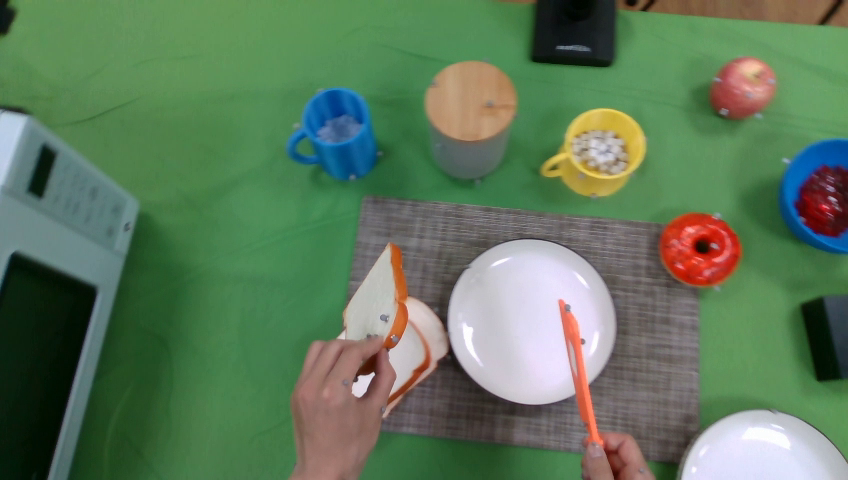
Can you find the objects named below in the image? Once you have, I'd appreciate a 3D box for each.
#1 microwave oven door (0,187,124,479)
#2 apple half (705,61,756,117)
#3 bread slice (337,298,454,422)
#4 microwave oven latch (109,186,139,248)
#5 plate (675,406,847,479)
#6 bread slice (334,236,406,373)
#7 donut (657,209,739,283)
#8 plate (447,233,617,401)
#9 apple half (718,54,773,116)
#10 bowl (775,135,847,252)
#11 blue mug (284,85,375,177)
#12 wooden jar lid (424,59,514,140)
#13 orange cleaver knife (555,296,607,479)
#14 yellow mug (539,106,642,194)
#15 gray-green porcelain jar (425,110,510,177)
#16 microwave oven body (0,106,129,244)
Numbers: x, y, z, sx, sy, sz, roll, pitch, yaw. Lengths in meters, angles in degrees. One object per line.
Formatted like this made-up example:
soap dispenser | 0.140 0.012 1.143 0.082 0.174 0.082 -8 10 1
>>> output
microwave oven door | -0.431 0.148 0.633 0.039 0.245 0.354 6 74 3
apple half | 0.403 -0.195 0.817 0.033 0.081 0.081 -25 74 -11
bread slice | -0.025 0.140 0.746 0.104 0.019 0.131 40 77 5
microwave oven latch | -0.398 -0.031 0.790 0.030 0.029 0.079 8 75 4
plate | 0.389 0.298 0.693 0.209 0.038 0.208 0 73 2
bread slice | -0.054 0.069 0.622 0.018 0.133 0.107 23 111 -26
donut | 0.348 0.008 0.772 0.099 0.048 0.098 0 74 2
plate | 0.132 0.095 0.756 0.207 0.039 0.206 0 74 2
apple half | 0.437 -0.213 0.823 0.053 0.075 0.080 -24 70 -11
bowl | 0.513 -0.048 0.770 0.151 0.077 0.150 0 74 2
blue mug | -0.126 -0.136 0.798 0.116 0.106 0.082 -19 73 -4
wooden jar lid | 0.053 -0.167 0.727 0.108 0.021 0.107 0 72 2
orange cleaver knife | 0.158 0.162 0.610 0.012 0.077 0.211 -11 91 2
yellow mug | 0.215 -0.114 0.804 0.131 0.064 0.099 -17 74 -3
gray-green porcelain jar | 0.056 -0.148 0.787 0.106 0.127 0.105 0 73 2
microwave oven body | -0.570 0.094 0.658 0.326 0.261 0.439 6 74 3
